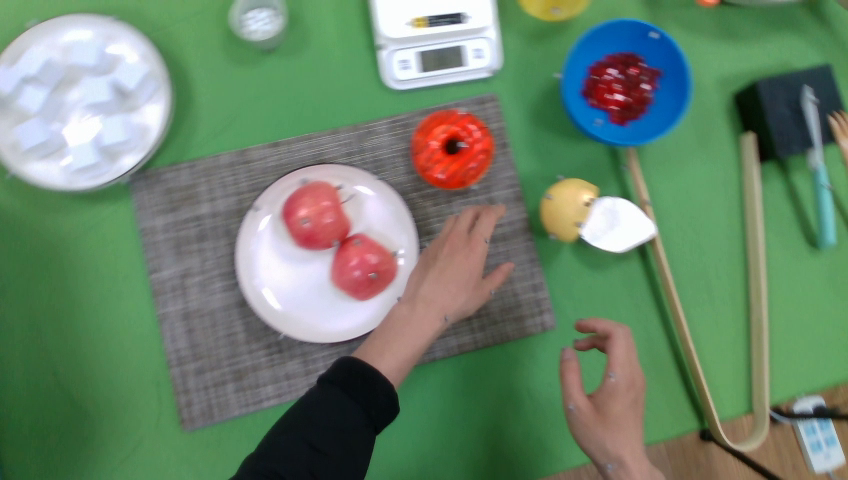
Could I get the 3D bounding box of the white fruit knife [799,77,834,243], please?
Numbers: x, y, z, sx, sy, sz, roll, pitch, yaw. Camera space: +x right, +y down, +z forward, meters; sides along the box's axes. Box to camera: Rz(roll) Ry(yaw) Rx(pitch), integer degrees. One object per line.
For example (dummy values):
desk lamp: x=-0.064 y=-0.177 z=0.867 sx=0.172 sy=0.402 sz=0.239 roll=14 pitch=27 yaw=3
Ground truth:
white fruit knife: x=0.474 y=-0.094 z=0.735 sx=0.016 sy=0.027 sz=0.208 roll=-16 pitch=101 yaw=-5

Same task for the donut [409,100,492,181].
donut: x=0.031 y=-0.118 z=0.721 sx=0.099 sy=0.048 sz=0.099 roll=0 pitch=86 yaw=-1

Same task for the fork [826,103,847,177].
fork: x=0.531 y=-0.068 z=0.744 sx=0.028 sy=0.018 sz=0.208 roll=-24 pitch=102 yaw=-8

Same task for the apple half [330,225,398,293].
apple half: x=-0.071 y=0.023 z=0.700 sx=0.081 sy=0.033 sz=0.081 roll=0 pitch=84 yaw=-3

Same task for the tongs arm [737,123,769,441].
tongs arm: x=0.400 y=0.048 z=0.745 sx=0.028 sy=0.028 sz=0.386 roll=1 pitch=85 yaw=-12

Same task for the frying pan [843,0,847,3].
frying pan: x=0.479 y=-0.363 z=0.747 sx=0.307 sy=0.103 sz=0.486 roll=-41 pitch=81 yaw=-5

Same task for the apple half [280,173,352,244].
apple half: x=-0.125 y=-0.036 z=0.689 sx=0.075 sy=0.053 sz=0.081 roll=-20 pitch=89 yaw=-4

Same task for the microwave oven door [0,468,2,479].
microwave oven door: x=-0.483 y=0.170 z=0.546 sx=0.039 sy=0.244 sz=0.355 roll=-12 pitch=85 yaw=-5

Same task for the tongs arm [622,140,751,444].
tongs arm: x=0.316 y=0.060 z=0.733 sx=0.051 sy=0.026 sz=0.384 roll=-14 pitch=87 yaw=-10

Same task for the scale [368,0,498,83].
scale: x=0.006 y=-0.301 z=0.746 sx=0.149 sy=0.031 sz=0.200 roll=-10 pitch=86 yaw=-4

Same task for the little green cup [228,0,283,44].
little green cup: x=-0.199 y=-0.267 z=0.726 sx=0.061 sy=0.038 sz=0.061 roll=0 pitch=84 yaw=-3

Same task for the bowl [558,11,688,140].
bowl: x=0.226 y=-0.186 z=0.727 sx=0.151 sy=0.077 sz=0.151 roll=0 pitch=85 yaw=-4

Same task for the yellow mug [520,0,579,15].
yellow mug: x=0.148 y=-0.349 z=0.742 sx=0.131 sy=0.064 sz=0.100 roll=43 pitch=84 yaw=2

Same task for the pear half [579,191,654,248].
pear half: x=0.231 y=-0.022 z=0.735 sx=0.088 sy=0.031 sz=0.070 roll=12 pitch=82 yaw=12

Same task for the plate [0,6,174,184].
plate: x=-0.394 y=-0.165 z=0.703 sx=0.208 sy=0.039 sz=0.207 roll=0 pitch=85 yaw=-4

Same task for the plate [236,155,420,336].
plate: x=-0.108 y=0.007 z=0.703 sx=0.209 sy=0.038 sz=0.208 roll=0 pitch=85 yaw=-4

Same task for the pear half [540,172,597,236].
pear half: x=0.166 y=-0.047 z=0.695 sx=0.056 sy=0.110 sz=0.076 roll=18 pitch=80 yaw=0
